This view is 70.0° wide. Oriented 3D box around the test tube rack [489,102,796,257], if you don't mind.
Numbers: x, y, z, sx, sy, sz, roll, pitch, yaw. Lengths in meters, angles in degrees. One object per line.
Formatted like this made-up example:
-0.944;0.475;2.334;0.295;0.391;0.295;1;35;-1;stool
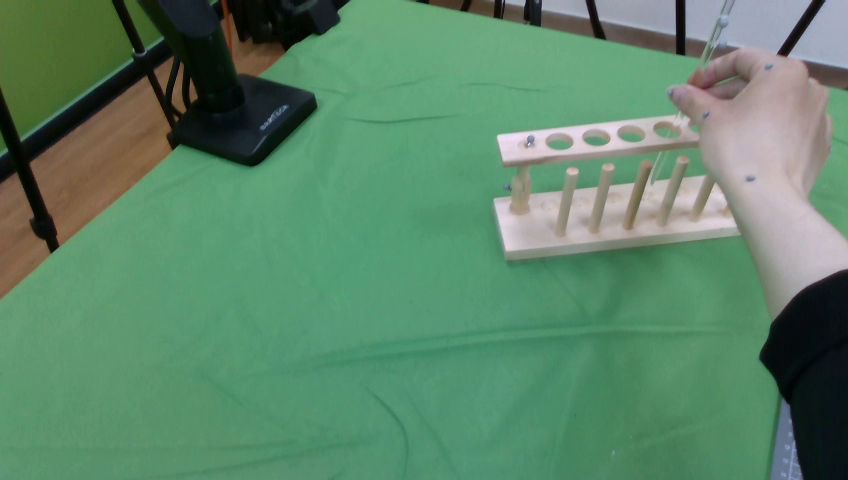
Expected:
0.181;-0.050;0.512;0.242;0.086;0.066;-6;49;-2;test tube rack

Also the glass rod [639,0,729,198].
0.201;-0.107;0.472;0.008;0.201;0.008;2;46;-2;glass rod
